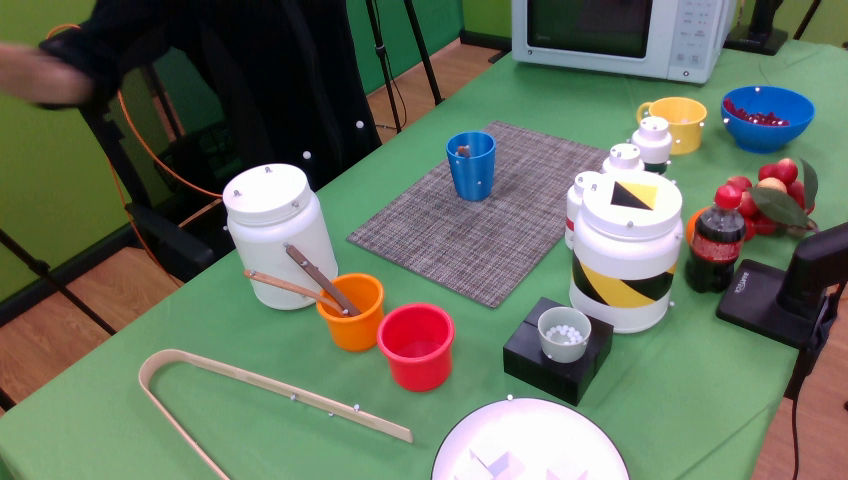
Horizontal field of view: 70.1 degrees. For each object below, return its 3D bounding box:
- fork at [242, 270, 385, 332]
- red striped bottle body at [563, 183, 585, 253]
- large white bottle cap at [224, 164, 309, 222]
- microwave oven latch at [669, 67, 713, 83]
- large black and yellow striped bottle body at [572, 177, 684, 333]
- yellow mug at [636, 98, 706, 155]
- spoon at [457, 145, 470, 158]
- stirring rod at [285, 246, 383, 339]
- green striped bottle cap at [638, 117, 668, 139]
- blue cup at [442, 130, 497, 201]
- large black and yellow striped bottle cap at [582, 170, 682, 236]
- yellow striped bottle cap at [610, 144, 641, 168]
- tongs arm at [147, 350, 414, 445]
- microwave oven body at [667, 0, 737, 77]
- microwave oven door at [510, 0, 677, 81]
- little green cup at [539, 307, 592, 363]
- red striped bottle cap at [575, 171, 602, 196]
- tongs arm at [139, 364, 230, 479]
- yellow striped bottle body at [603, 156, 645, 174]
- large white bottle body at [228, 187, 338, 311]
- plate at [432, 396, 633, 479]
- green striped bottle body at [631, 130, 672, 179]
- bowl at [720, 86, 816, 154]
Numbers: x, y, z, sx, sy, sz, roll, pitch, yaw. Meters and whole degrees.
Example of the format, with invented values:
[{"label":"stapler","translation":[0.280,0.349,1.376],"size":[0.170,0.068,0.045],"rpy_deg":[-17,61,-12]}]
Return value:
[{"label":"fork","translation":[-0.142,0.082,0.802],"size":[0.209,0.018,0.028],"rpy_deg":[28,38,-26]},{"label":"red striped bottle body","translation":[0.246,-0.041,0.910],"size":[0.063,0.120,0.062],"rpy_deg":[-2,38,2]},{"label":"large white bottle cap","translation":[-0.216,-0.066,0.829],"size":[0.115,0.018,0.114],"rpy_deg":[-4,40,4]},{"label":"microwave oven latch","translation":[0.556,-0.349,1.261],"size":[0.078,0.029,0.030],"rpy_deg":[17,46,27]},{"label":"large black and yellow striped bottle body","translation":[0.262,0.017,0.788],"size":[0.131,0.185,0.130],"rpy_deg":[-5,40,4]},{"label":"yellow mug","translation":[0.453,-0.217,1.128],"size":[0.100,0.064,0.129],"rpy_deg":[-34,46,-27]},{"label":"spoon","translation":[0.068,-0.135,0.972],"size":[0.041,0.021,0.194],"rpy_deg":[4,-2,10]},{"label":"stirring rod","translation":[-0.121,0.071,0.819],"size":[0.176,0.006,0.014],"rpy_deg":[44,52,-6]},{"label":"green striped bottle cap","translation":[0.369,-0.180,0.974],"size":[0.044,0.020,0.044],"rpy_deg":[-4,41,4]},{"label":"blue cup","translation":[0.084,-0.123,1.041],"size":[0.092,0.100,0.092],"rpy_deg":[-4,43,4]},{"label":"large black and yellow striped bottle cap","translation":[0.252,-0.048,0.735],"size":[0.115,0.019,0.114],"rpy_deg":[-3,40,3]},{"label":"yellow striped bottle cap","translation":[0.307,-0.128,0.923],"size":[0.044,0.019,0.044],"rpy_deg":[-6,40,5]},{"label":"tongs arm","translation":[-0.193,0.200,0.757],"size":[0.382,0.026,0.051],"rpy_deg":[14,48,24]},{"label":"microwave oven body","translation":[0.462,-0.552,1.369],"size":[0.439,0.261,0.326],"rpy_deg":[15,45,26]},{"label":"microwave oven door","translation":[0.354,-0.478,1.290],"size":[0.353,0.245,0.039],"rpy_deg":[15,45,25]},{"label":"little green cup","translation":[0.168,0.115,0.721],"size":[0.061,0.039,0.061],"rpy_deg":[-4,42,4]},{"label":"red striped bottle cap","translation":[0.242,-0.081,0.876],"size":[0.044,0.018,0.044],"rpy_deg":[-5,44,5]},{"label":"tongs arm","translation":[-0.241,0.253,0.706],"size":[0.384,0.028,0.028],"rpy_deg":[27,58,35]},{"label":"yellow striped bottle body","translation":[0.313,-0.089,0.956],"size":[0.063,0.121,0.062],"rpy_deg":[-4,40,4]},{"label":"large white bottle body","translation":[-0.207,-0.002,0.884],"size":[0.130,0.185,0.130],"rpy_deg":[-4,40,4]},{"label":"plate","translation":[0.112,0.261,0.634],"size":[0.209,0.038,0.208],"rpy_deg":[-5,40,4]},{"label":"green striped bottle body","translation":[0.375,-0.140,1.007],"size":[0.063,0.120,0.063],"rpy_deg":[-5,40,4]},{"label":"bowl","translation":[0.605,-0.206,1.081],"size":[0.151,0.077,0.150],"rpy_deg":[-5,40,5]}]
